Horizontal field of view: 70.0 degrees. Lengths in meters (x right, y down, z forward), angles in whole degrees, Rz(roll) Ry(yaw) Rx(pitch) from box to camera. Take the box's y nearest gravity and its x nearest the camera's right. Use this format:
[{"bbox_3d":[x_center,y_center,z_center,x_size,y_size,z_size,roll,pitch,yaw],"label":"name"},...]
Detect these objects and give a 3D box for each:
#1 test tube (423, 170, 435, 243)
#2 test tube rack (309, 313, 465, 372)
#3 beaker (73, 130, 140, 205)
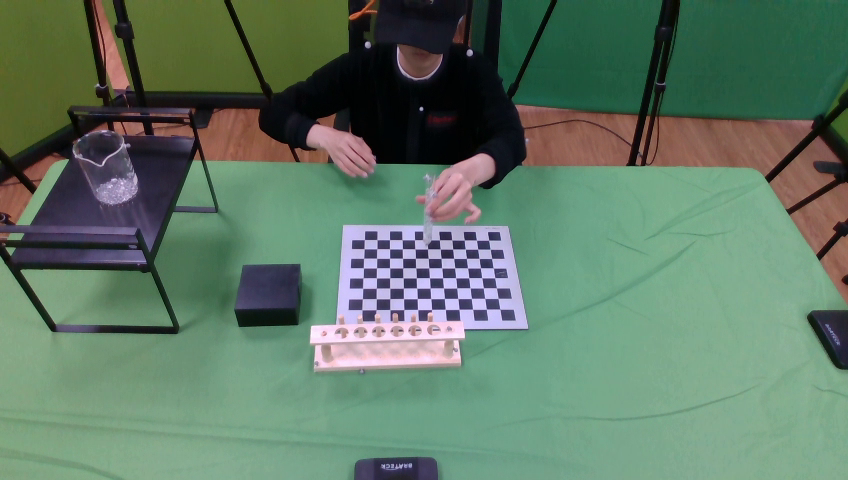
[{"bbox_3d":[0.007,-0.051,0.991,0.017,0.151,0.017,1,43,-1],"label":"test tube"},{"bbox_3d":[-0.059,0.161,0.990,0.242,0.085,0.066,-1,46,-5],"label":"test tube rack"},{"bbox_3d":[-0.500,-0.110,0.963,0.074,0.101,0.083,-14,49,-16],"label":"beaker"}]
